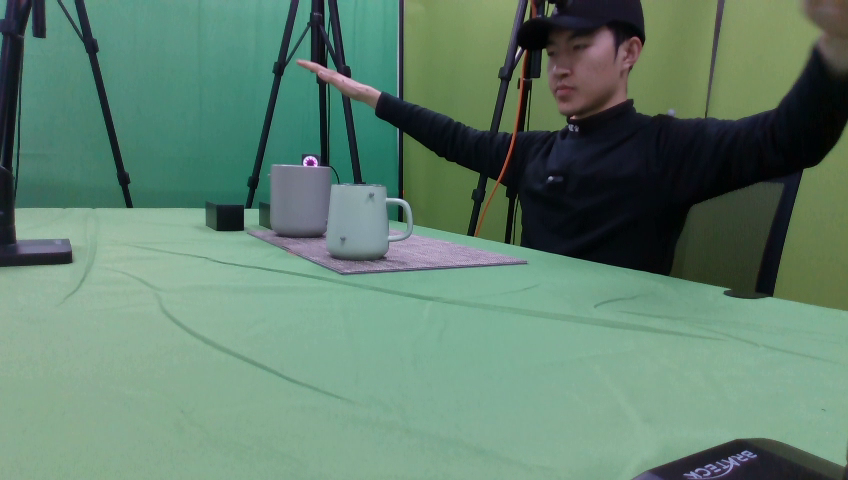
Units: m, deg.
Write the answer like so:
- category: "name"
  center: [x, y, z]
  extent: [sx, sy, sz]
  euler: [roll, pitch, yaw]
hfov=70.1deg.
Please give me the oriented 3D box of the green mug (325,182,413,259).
- category: "green mug"
  center: [-0.078, -0.028, 0.869]
  extent: [0.125, 0.105, 0.092]
  euler: [2, 7, 3]

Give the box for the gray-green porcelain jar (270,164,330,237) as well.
- category: "gray-green porcelain jar"
  center: [-0.223, -0.072, 1.091]
  extent: [0.106, 0.126, 0.106]
  euler: [2, 8, 0]
